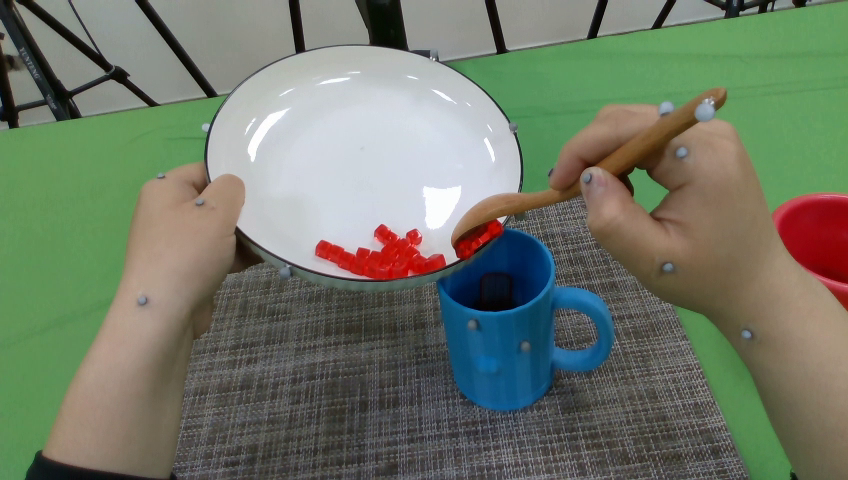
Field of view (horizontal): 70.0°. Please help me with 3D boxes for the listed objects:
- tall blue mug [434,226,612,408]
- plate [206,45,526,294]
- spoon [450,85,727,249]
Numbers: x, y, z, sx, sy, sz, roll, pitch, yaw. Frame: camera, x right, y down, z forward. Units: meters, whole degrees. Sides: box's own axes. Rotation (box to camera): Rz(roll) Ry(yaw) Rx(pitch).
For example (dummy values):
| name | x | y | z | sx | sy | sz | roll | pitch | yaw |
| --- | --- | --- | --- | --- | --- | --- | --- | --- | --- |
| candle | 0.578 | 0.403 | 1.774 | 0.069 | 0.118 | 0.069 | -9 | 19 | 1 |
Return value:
| name | x | y | z | sx | sy | sz | roll | pitch | yaw |
| --- | --- | --- | --- | --- | --- | --- | --- | --- | --- |
| tall blue mug | 0.066 | 0.051 | 0.418 | 0.107 | 0.109 | 0.077 | -13 | 43 | -2 |
| plate | -0.036 | -0.051 | 0.412 | 0.208 | 0.039 | 0.205 | 4 | 56 | -5 |
| spoon | 0.064 | -0.026 | 0.290 | 0.041 | 0.193 | 0.021 | -30 | 93 | -29 |
